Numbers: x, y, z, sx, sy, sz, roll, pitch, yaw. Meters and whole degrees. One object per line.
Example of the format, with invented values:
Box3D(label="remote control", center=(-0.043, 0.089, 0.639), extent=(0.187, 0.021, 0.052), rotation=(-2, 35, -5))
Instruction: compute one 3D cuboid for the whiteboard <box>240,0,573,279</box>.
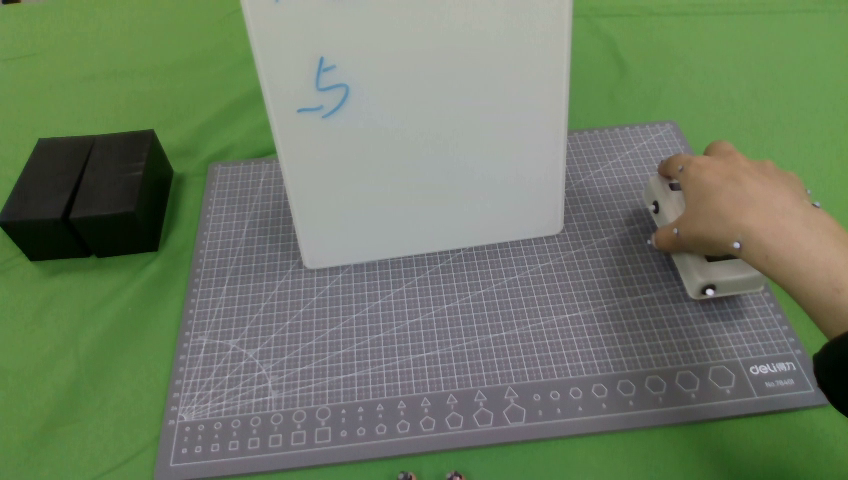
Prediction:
Box3D(label="whiteboard", center=(-0.011, -0.148, 0.473), extent=(0.217, 0.308, 0.142), rotation=(-7, 31, -3))

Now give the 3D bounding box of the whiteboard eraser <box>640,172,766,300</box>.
Box3D(label="whiteboard eraser", center=(0.215, -0.003, 0.476), extent=(0.055, 0.042, 0.111), rotation=(-5, 49, -4))
